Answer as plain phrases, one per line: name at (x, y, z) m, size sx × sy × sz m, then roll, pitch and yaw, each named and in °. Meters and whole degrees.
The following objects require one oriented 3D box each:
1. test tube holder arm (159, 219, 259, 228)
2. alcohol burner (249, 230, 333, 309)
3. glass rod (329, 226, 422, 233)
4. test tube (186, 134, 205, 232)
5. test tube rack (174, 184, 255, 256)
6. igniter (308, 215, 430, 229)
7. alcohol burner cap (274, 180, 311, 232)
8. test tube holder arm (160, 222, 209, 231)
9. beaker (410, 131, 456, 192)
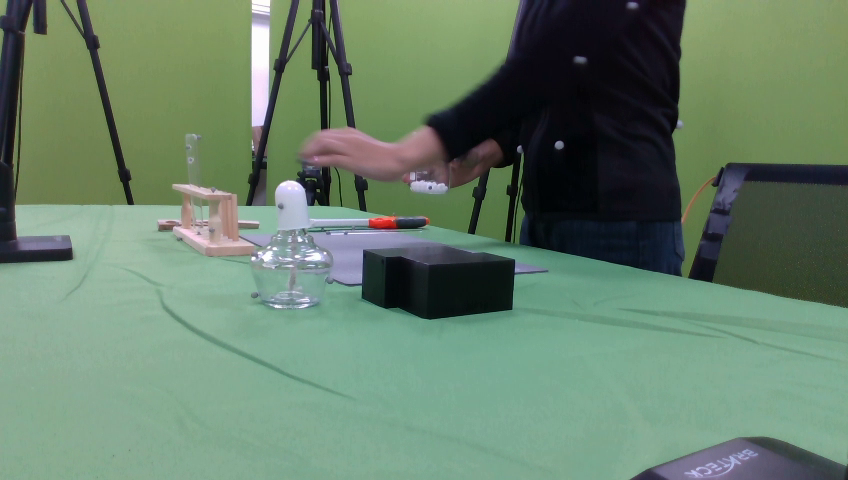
test tube holder arm at (-0.390, -0.030, 1.107) m, size 0.179 × 0.015 × 0.013 m, roll -3°, pitch 44°, yaw -39°
alcohol burner at (-0.125, 0.004, 0.568) m, size 0.078 × 0.119 × 0.078 m, roll 2°, pitch 10°, yaw 0°
glass rod at (-0.087, -0.020, 1.148) m, size 0.201 × 0.008 × 0.008 m, roll -3°, pitch 9°, yaw -33°
test tube at (-0.350, -0.087, 0.928) m, size 0.017 × 0.150 × 0.017 m, roll -3°, pitch 5°, yaw 1°
test tube rack at (-0.327, -0.036, 0.928) m, size 0.067 × 0.085 × 0.241 m, roll -2°, pitch 9°, yaw -32°
igniter at (-0.109, -0.037, 1.228) m, size 0.278 × 0.025 × 0.057 m, roll -3°, pitch -1°, yaw -35°
alcohol burner cap at (-0.125, -0.032, 0.563) m, size 0.034 × 0.048 × 0.034 m, roll -5°, pitch 6°, yaw 1°
test tube holder arm at (-0.423, -0.024, 1.075) m, size 0.088 × 0.015 × 0.010 m, roll -3°, pitch 44°, yaw -38°
beaker at (0.011, -0.133, 1.025) m, size 0.074 × 0.100 × 0.083 m, roll -4°, pitch 11°, yaw -40°
